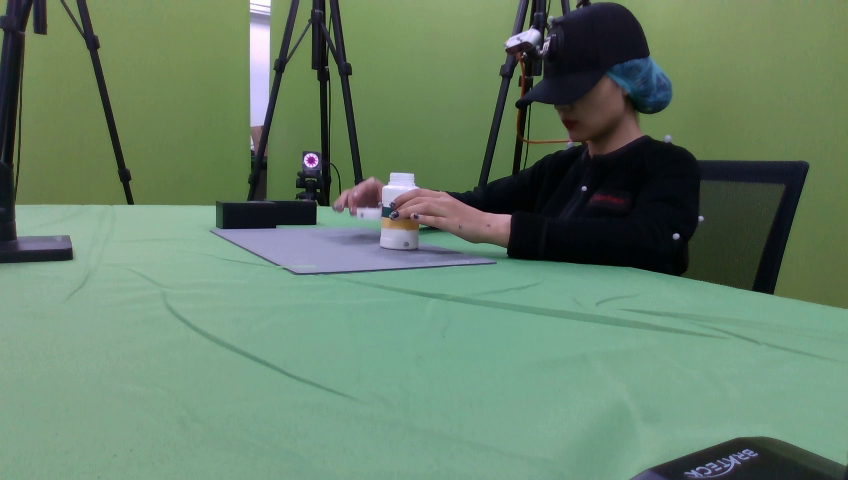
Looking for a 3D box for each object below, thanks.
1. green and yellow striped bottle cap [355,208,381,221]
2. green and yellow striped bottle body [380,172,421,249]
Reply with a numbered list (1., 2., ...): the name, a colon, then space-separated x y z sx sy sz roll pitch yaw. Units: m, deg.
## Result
1. green and yellow striped bottle cap: -0.096 -0.044 1.035 0.045 0.020 0.045 4 4 0
2. green and yellow striped bottle body: -0.037 -0.048 0.959 0.063 0.119 0.063 3 7 0
